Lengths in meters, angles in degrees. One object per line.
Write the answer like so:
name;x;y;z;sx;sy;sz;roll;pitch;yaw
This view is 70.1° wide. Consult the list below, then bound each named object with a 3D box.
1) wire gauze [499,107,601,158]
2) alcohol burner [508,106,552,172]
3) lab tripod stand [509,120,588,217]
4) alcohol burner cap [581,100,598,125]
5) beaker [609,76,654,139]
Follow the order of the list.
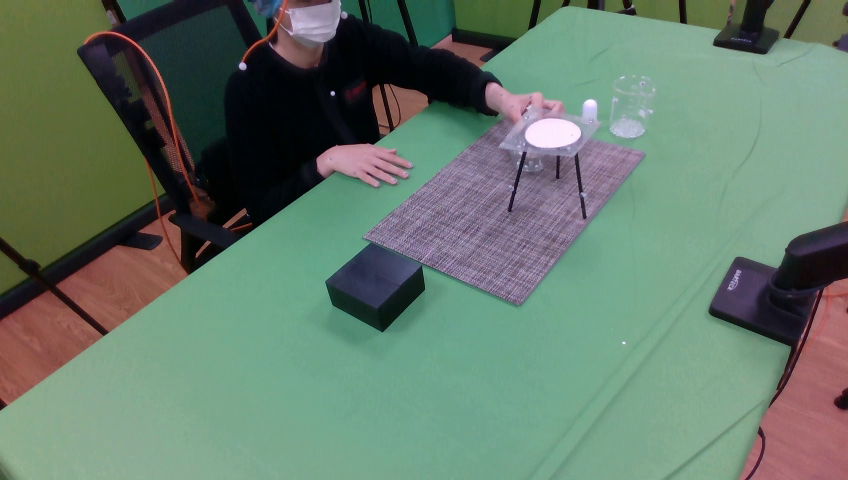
wire gauze;0.198;-0.168;0.943;0.120;0.011;0.125;17;47;27
alcohol burner;0.187;-0.182;1.068;0.078;0.119;0.077;-5;42;5
lab tripod stand;0.208;-0.114;0.983;0.148;0.132;0.147;-5;42;5
alcohol burner cap;0.331;-0.258;1.210;0.034;0.048;0.033;-5;41;5
beaker;0.393;-0.248;1.144;0.074;0.101;0.083;-32;47;-24
